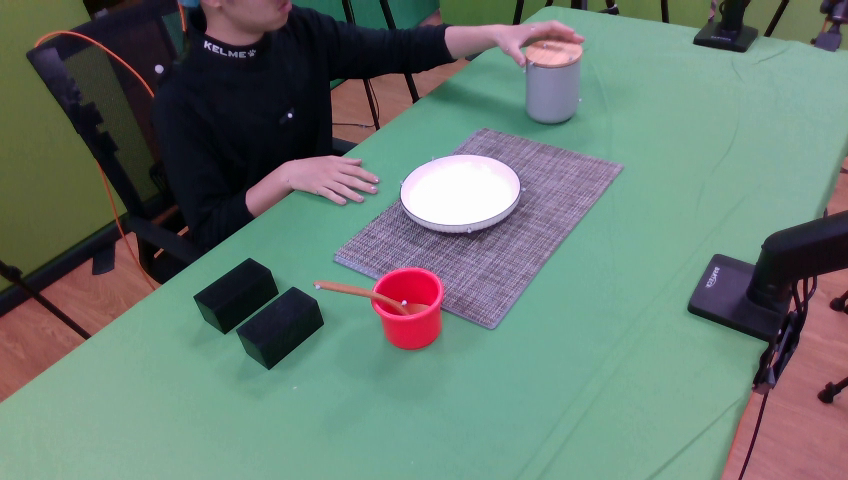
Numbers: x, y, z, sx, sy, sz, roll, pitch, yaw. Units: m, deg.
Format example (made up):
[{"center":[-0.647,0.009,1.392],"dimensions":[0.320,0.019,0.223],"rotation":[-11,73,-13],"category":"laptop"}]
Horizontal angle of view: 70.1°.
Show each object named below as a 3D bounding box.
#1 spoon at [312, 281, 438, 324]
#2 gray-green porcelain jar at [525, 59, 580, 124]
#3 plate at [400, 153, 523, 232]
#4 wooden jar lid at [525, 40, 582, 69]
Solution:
[{"center":[-0.060,0.078,0.793],"dimensions":[0.195,0.021,0.041],"rotation":[24,24,-35],"category":"spoon"},{"center":[0.256,-0.306,1.209],"dimensions":[0.106,0.127,0.105],"rotation":[-4,41,4],"category":"gray-green porcelain jar"},{"center":[0.065,-0.078,1.034],"dimensions":[0.207,0.039,0.206],"rotation":[-4,41,4],"category":"plate"},{"center":[0.249,-0.354,1.167],"dimensions":[0.108,0.021,0.108],"rotation":[-4,44,4],"category":"wooden jar lid"}]
